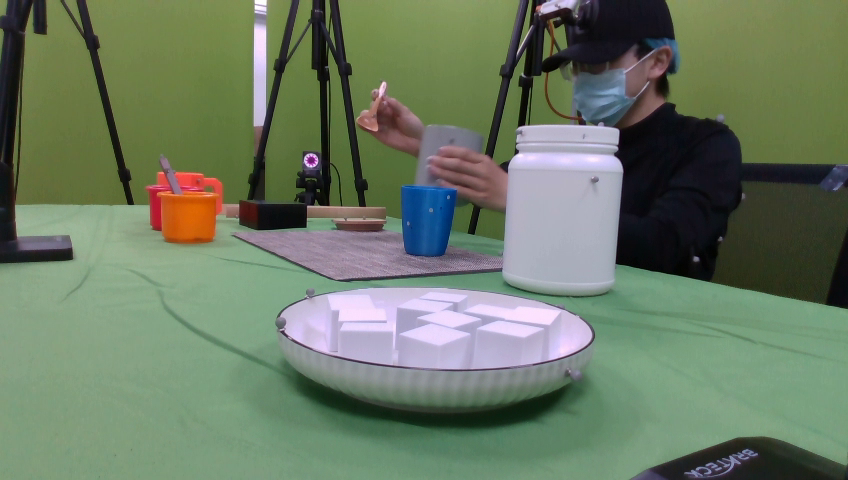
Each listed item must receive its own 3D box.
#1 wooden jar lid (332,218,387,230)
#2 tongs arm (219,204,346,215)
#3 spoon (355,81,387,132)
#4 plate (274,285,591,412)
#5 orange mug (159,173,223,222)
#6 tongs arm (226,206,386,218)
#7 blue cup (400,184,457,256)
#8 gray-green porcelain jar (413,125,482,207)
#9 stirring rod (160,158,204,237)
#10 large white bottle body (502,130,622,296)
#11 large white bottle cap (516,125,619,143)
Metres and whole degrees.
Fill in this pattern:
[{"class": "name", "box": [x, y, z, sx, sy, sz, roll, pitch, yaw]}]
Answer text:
[{"class": "wooden jar lid", "box": [-0.129, -0.032, 1.204, 0.108, 0.020, 0.108, 0, 5, 0]}, {"class": "tongs arm", "box": [-0.287, -0.069, 1.435, 0.389, 0.027, 0.028, 0, -1, -17]}, {"class": "spoon", "box": [-0.089, -0.249, 1.114, 0.042, 0.021, 0.193, 24, 42, -9]}, {"class": "plate", "box": [0.005, 0.069, 0.408, 0.208, 0.039, 0.207, 2, 7, 0]}, {"class": "orange mug", "box": [-0.477, -0.089, 1.241, 0.127, 0.101, 0.083, -7, 11, -33]}, {"class": "tongs arm", "box": [-0.251, -0.063, 1.360, 0.387, 0.026, 0.050, -1, 3, -31]}, {"class": "blue cup", "box": [0.004, -0.030, 0.901, 0.093, 0.100, 0.092, 4, 8, 0]}, {"class": "gray-green porcelain jar", "box": [0.038, -0.125, 1.038, 0.106, 0.126, 0.106, 9, 2, 0]}, {"class": "stirring rod", "box": [-0.390, -0.070, 0.972, 0.014, 0.006, 0.175, -2, 50, -49]}, {"class": "large white bottle body", "box": [0.160, -0.037, 0.707, 0.131, 0.184, 0.130, 2, 7, 0]}, {"class": "large white bottle cap", "box": [0.164, -0.120, 0.695, 0.115, 0.018, 0.115, 2, 8, 0]}]
